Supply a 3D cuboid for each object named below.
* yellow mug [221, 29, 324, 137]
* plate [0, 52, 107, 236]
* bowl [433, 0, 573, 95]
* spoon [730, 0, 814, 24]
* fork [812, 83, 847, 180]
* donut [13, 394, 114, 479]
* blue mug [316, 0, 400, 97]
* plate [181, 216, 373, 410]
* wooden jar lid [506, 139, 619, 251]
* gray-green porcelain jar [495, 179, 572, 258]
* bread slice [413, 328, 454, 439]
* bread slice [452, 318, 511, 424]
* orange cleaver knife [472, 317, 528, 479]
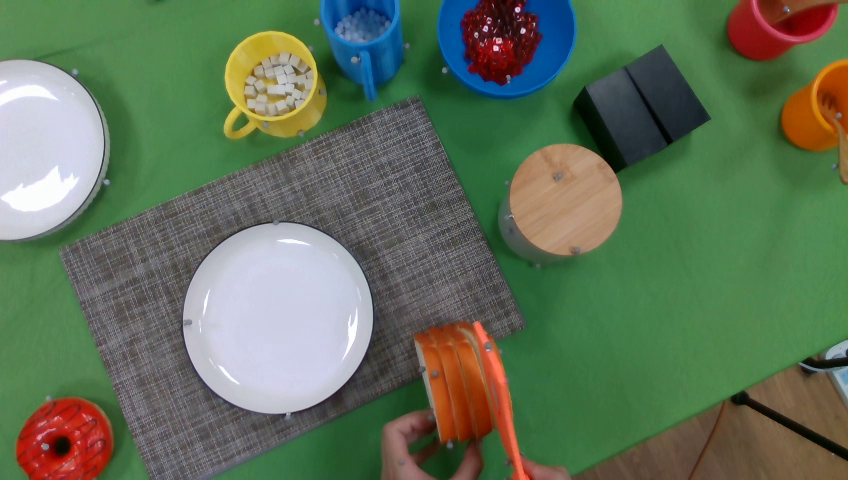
[{"bbox_3d":[-0.178,-0.165,0.681,0.100,0.064,0.131,43,87,4],"label":"yellow mug"},{"bbox_3d":[-0.459,-0.106,0.686,0.208,0.039,0.207,0,85,-1],"label":"plate"},{"bbox_3d":[0.085,-0.227,0.683,0.151,0.077,0.151,0,85,0],"label":"bowl"},{"bbox_3d":[0.436,-0.264,0.657,0.192,0.022,0.041,9,77,45],"label":"spoon"},{"bbox_3d":[0.433,-0.119,0.641,0.028,0.019,0.206,37,41,-3],"label":"fork"},{"bbox_3d":[-0.387,0.216,0.655,0.099,0.048,0.099,0,84,-3],"label":"donut"},{"bbox_3d":[-0.068,-0.218,0.667,0.082,0.106,0.116,-5,85,-1],"label":"blue mug"},{"bbox_3d":[-0.158,0.079,0.669,0.209,0.038,0.208,0,85,0],"label":"plate"},{"bbox_3d":[0.131,-0.042,0.580,0.108,0.021,0.108,0,85,-3],"label":"wooden jar lid"},{"bbox_3d":[0.132,-0.035,0.642,0.106,0.126,0.105,0,84,-1],"label":"gray-green porcelain jar"},{"bbox_3d":[0.009,0.144,0.620,0.018,0.134,0.106,-13,84,-4],"label":"bread slice"},{"bbox_3d":[0.059,0.135,0.624,0.019,0.131,0.105,-14,89,-9],"label":"bread slice"},{"bbox_3d":[0.071,0.167,0.526,0.012,0.076,0.212,-17,110,-4],"label":"orange cleaver knife"}]
